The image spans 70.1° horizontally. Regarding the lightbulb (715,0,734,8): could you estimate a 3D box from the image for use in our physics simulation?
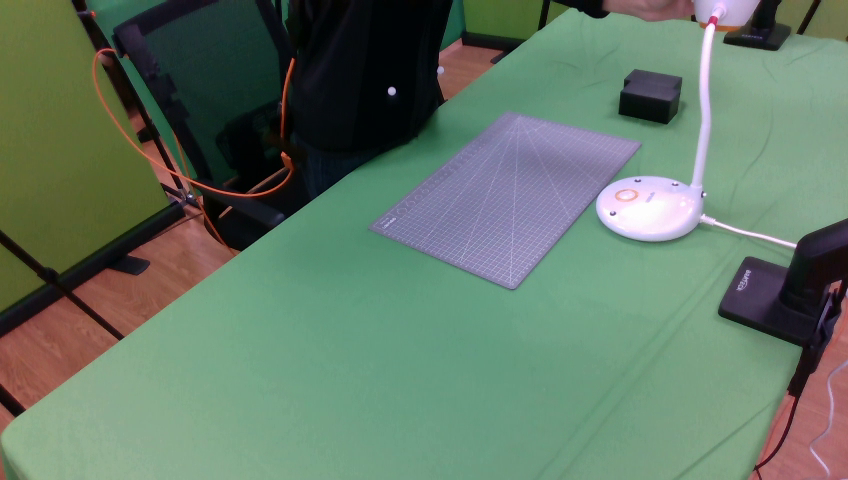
[{"bbox_3d":[0.434,-0.388,0.861,0.059,0.108,0.059,-6,32,4],"label":"lightbulb"}]

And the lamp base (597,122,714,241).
[{"bbox_3d":[0.364,-0.109,0.921,0.178,0.181,0.160,13,45,21],"label":"lamp base"}]

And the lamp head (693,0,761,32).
[{"bbox_3d":[0.437,-0.362,0.867,0.112,0.123,0.112,2,28,0],"label":"lamp head"}]
